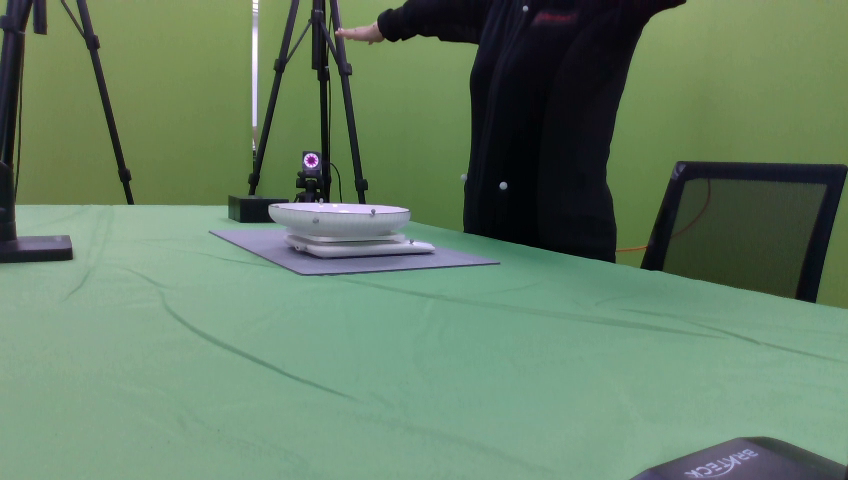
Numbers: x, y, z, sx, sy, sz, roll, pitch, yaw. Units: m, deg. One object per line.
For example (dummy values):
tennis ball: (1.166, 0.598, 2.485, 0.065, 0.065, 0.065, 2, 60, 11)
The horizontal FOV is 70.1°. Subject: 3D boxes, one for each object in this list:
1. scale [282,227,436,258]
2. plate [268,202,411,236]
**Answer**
scale: (-0.098, 0.000, 0.914, 0.202, 0.031, 0.148, -2, 9, -33)
plate: (-0.123, -0.032, 0.894, 0.209, 0.038, 0.209, 2, 7, 0)
